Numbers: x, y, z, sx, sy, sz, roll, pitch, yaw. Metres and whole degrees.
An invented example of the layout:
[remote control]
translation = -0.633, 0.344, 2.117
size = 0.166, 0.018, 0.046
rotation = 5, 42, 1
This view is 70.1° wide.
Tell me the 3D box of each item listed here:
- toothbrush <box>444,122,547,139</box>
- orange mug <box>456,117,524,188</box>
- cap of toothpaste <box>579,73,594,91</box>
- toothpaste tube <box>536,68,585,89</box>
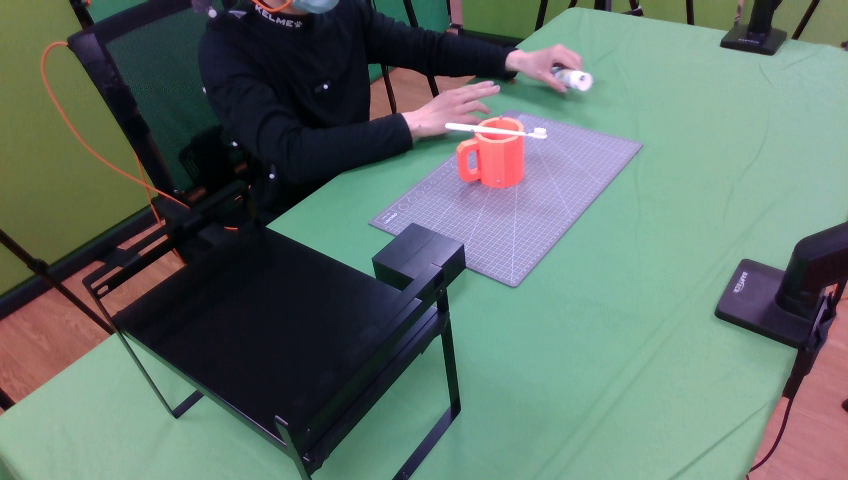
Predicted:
[toothbrush]
translation = 0.121, -0.190, 1.034
size = 0.181, 0.017, 0.014
rotation = 9, 46, 18
[orange mug]
translation = 0.117, -0.152, 1.071
size = 0.127, 0.101, 0.083
rotation = -14, 41, -14
[cap of toothpaste]
translation = 0.322, -0.315, 1.203
size = 0.037, 0.037, 0.011
rotation = -23, 31, -18
[toothpaste tube]
translation = 0.298, -0.344, 1.274
size = 0.055, 0.034, 0.164
rotation = -22, 27, -11
